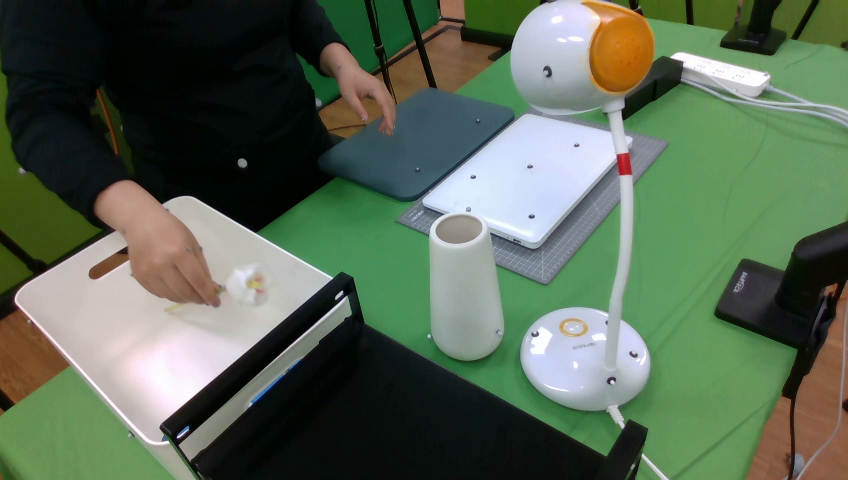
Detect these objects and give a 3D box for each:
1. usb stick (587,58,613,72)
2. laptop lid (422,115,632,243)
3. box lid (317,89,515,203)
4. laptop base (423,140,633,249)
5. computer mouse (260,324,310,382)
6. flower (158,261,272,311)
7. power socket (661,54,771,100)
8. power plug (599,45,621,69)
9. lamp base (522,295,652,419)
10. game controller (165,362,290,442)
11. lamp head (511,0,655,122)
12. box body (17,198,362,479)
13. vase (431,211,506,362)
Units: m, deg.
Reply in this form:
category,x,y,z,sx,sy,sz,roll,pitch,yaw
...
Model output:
category,x,y,z,sx,sy,sz,roll,pitch,yaw
usb stick,0.401,-0.399,1.381,0.059,0.027,0.021,0,49,21
laptop lid,0.190,-0.126,1.081,0.239,0.013,0.358,23,48,34
box lid,-0.009,-0.207,1.236,0.261,0.015,0.372,23,49,32
laptop base,0.194,-0.117,1.087,0.233,0.023,0.355,20,47,34
computer mouse,-0.157,0.154,0.793,0.116,0.041,0.063,29,50,24
flower,-0.278,0.071,0.752,0.038,0.044,0.359,-2,-8,-39
power socket,0.615,-0.348,1.285,0.072,0.033,0.225,-36,48,-28
power plug,0.436,-0.421,1.413,0.053,0.035,0.072,-18,76,-47
lamp base,0.201,0.095,0.710,0.161,0.181,0.177,-16,43,-10
game controller,-0.234,0.210,0.736,0.096,0.052,0.155,27,51,32
lamp head,0.155,-0.168,0.564,0.113,0.113,0.122,-18,23,-12
box body,-0.285,0.123,0.766,0.361,0.161,0.255,25,49,33
vase,0.054,0.061,0.757,0.098,0.201,0.097,-3,40,3
